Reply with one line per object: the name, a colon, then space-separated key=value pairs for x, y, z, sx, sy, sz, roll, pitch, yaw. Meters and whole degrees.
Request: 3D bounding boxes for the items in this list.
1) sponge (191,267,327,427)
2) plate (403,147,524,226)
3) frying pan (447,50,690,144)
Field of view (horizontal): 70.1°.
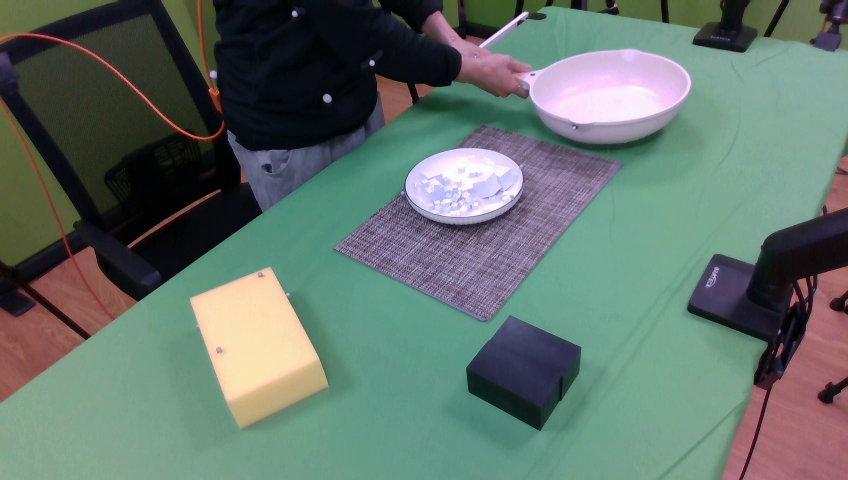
sponge: x=-0.226 y=0.135 z=0.813 sx=0.119 sy=0.061 sz=0.205 roll=-23 pitch=43 yaw=-19
plate: x=0.069 y=-0.089 z=1.044 sx=0.207 sy=0.039 sz=0.206 roll=-4 pitch=41 yaw=4
frying pan: x=0.263 y=-0.309 z=1.204 sx=0.485 sy=0.103 sz=0.307 roll=22 pitch=48 yaw=22
